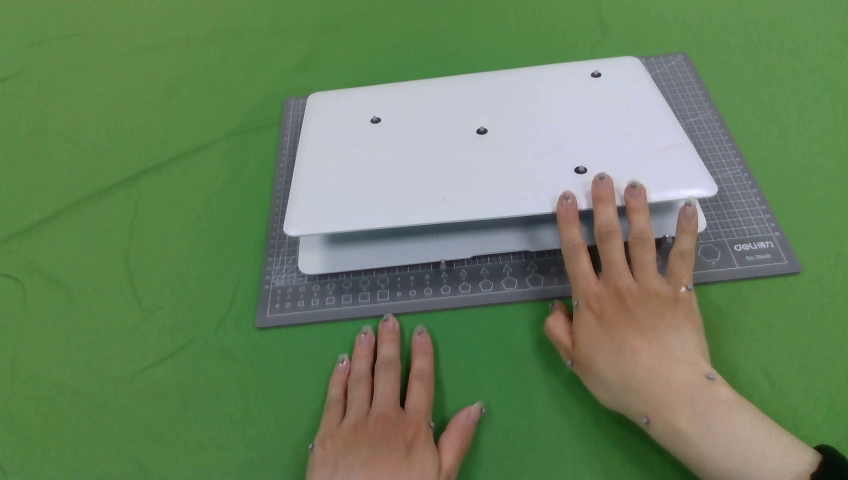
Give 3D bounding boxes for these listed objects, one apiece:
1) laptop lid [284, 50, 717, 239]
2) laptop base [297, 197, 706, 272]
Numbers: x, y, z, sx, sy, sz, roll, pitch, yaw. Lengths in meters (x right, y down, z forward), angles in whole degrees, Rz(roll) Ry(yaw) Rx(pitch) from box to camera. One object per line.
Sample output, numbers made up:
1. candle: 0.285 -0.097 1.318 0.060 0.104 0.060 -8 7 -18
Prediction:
1. laptop lid: 0.055 -0.101 0.561 0.357 0.013 0.239 -5 45 3
2. laptop base: 0.059 -0.081 0.586 0.354 0.023 0.233 -6 56 2
